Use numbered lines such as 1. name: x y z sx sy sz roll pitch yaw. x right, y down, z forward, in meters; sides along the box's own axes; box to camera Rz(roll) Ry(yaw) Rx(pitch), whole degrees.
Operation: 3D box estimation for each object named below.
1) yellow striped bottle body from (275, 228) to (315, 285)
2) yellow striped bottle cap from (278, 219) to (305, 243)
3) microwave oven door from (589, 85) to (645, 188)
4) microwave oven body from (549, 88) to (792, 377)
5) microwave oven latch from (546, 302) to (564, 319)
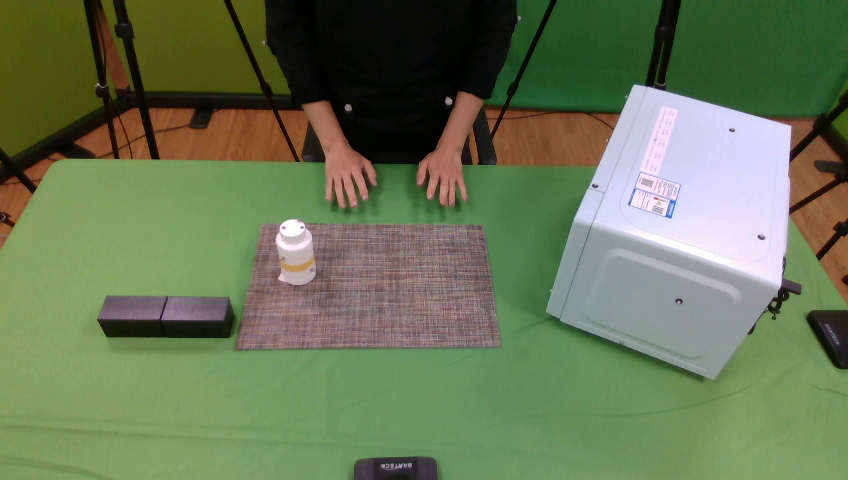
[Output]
1. yellow striped bottle body: -0.231 0.021 1.085 0.063 0.121 0.062 2 46 -2
2. yellow striped bottle cap: -0.229 -0.016 1.047 0.044 0.019 0.044 3 44 -3
3. microwave oven door: 0.341 -0.107 1.149 0.039 0.245 0.354 20 48 15
4. microwave oven body: 0.456 -0.028 1.088 0.325 0.261 0.440 20 47 16
5. microwave oven latch: 0.242 0.102 1.081 0.030 0.029 0.079 21 48 17
